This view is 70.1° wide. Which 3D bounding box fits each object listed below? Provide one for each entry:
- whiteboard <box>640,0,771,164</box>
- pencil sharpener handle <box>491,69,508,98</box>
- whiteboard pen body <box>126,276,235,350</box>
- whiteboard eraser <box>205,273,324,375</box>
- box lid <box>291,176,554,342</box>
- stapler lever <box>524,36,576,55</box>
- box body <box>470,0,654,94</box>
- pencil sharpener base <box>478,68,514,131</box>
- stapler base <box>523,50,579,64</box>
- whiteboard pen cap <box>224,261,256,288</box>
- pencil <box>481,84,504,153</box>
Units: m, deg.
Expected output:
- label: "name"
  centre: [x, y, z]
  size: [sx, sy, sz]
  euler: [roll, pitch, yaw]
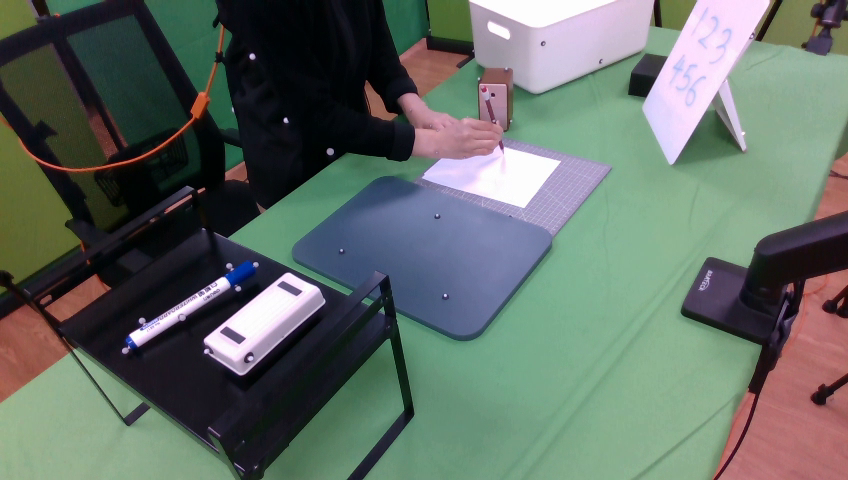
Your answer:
- label: "whiteboard"
  centre: [0.543, -0.299, 1.076]
  size: [0.144, 0.305, 0.216]
  euler: [12, 40, -7]
- label: "pencil sharpener handle"
  centre: [0.155, -0.329, 1.254]
  size: [0.036, 0.068, 0.030]
  euler: [17, 43, 4]
- label: "whiteboard pen body"
  centre: [-0.251, 0.070, 0.649]
  size: [0.141, 0.017, 0.017]
  euler: [-36, 48, -25]
- label: "whiteboard eraser"
  centre: [-0.157, 0.084, 0.605]
  size: [0.055, 0.042, 0.113]
  euler: [24, 49, 30]
- label: "box lid"
  centre: [-0.005, 0.011, 0.972]
  size: [0.368, 0.015, 0.264]
  euler: [21, 49, 30]
- label: "stapler lever"
  centre: [0.296, -0.456, 1.418]
  size: [0.117, 0.040, 0.027]
  euler: [4, 40, 17]
- label: "box body"
  centre: [0.319, -0.498, 1.405]
  size: [0.365, 0.161, 0.252]
  euler: [-26, 43, -21]
- label: "pencil sharpener base"
  centre: [0.148, -0.286, 1.225]
  size: [0.061, 0.107, 0.076]
  euler: [5, 41, 15]
- label: "stapler base"
  centre: [0.301, -0.436, 1.434]
  size: [0.130, 0.024, 0.041]
  euler: [5, 40, 17]
- label: "whiteboard pen cap"
  centre: [-0.207, 0.039, 0.677]
  size: [0.033, 0.018, 0.018]
  euler: [-35, 47, -18]
- label: "pencil"
  centre: [0.125, -0.209, 1.072]
  size: [0.012, 0.195, 0.012]
  euler: [-7, 62, 15]
